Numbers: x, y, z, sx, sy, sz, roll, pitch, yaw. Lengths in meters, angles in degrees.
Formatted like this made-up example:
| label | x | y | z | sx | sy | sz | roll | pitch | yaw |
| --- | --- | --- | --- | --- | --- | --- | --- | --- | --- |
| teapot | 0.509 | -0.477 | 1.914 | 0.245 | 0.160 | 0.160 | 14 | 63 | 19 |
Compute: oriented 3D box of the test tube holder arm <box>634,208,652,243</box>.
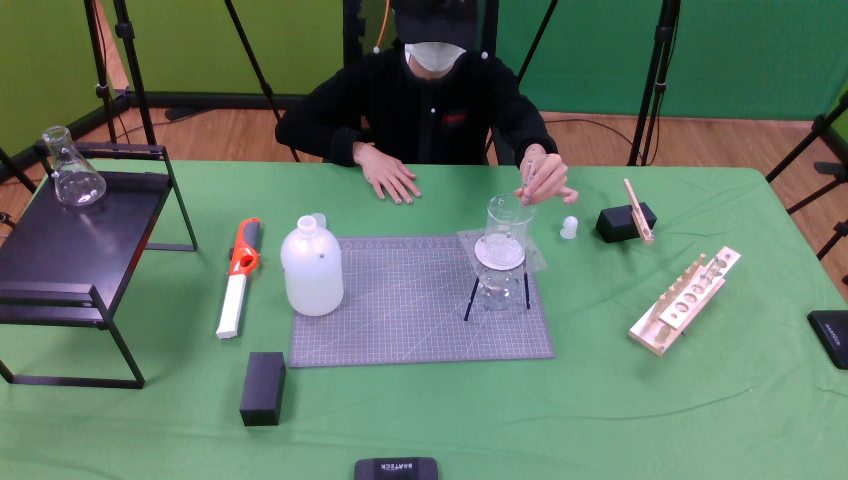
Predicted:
| label | x | y | z | sx | sy | sz | roll | pitch | yaw |
| --- | --- | --- | --- | --- | --- | --- | --- | --- | --- |
| test tube holder arm | 0.428 | -0.030 | 1.189 | 0.010 | 0.015 | 0.087 | 3 | 47 | -3 |

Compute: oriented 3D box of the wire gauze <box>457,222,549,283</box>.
| label | x | y | z | sx | sy | sz | roll | pitch | yaw |
| --- | --- | --- | --- | --- | --- | --- | --- | --- | --- |
| wire gauze | 0.131 | 0.016 | 1.017 | 0.121 | 0.011 | 0.124 | -10 | 44 | -15 |

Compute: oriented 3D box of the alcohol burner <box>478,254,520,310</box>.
| label | x | y | z | sx | sy | sz | roll | pitch | yaw |
| --- | --- | --- | --- | --- | --- | --- | --- | --- | --- |
| alcohol burner | 0.133 | 0.068 | 1.071 | 0.078 | 0.120 | 0.077 | 0 | 47 | 0 |

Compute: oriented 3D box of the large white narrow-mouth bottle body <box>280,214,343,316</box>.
| label | x | y | z | sx | sy | sz | roll | pitch | yaw |
| --- | --- | --- | --- | --- | --- | --- | --- | --- | --- |
| large white narrow-mouth bottle body | -0.190 | 0.035 | 1.025 | 0.102 | 0.195 | 0.101 | 2 | 46 | -2 |

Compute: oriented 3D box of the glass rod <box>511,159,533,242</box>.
| label | x | y | z | sx | sy | sz | roll | pitch | yaw |
| --- | --- | --- | --- | --- | --- | --- | --- | --- | --- |
| glass rod | 0.151 | -0.055 | 0.938 | 0.008 | 0.201 | 0.008 | 0 | 55 | 0 |

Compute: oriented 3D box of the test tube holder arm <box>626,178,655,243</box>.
| label | x | y | z | sx | sy | sz | roll | pitch | yaw |
| --- | --- | --- | --- | --- | --- | --- | --- | --- | --- |
| test tube holder arm | 0.434 | -0.063 | 1.220 | 0.013 | 0.015 | 0.177 | 3 | 47 | -4 |

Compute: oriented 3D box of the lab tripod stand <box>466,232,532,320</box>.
| label | x | y | z | sx | sy | sz | roll | pitch | yaw |
| --- | --- | --- | --- | --- | --- | --- | --- | --- | --- |
| lab tripod stand | 0.125 | 0.059 | 1.065 | 0.148 | 0.132 | 0.147 | 1 | 45 | 0 |

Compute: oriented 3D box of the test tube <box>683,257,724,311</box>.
| label | x | y | z | sx | sy | sz | roll | pitch | yaw |
| --- | --- | --- | --- | --- | --- | --- | --- | --- | --- |
| test tube | 0.476 | 0.080 | 1.037 | 0.017 | 0.151 | 0.017 | 1 | 51 | -2 |

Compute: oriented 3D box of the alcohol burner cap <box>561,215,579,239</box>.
| label | x | y | z | sx | sy | sz | roll | pitch | yaw |
| --- | --- | --- | --- | --- | --- | --- | --- | --- | --- |
| alcohol burner cap | 0.299 | -0.030 | 1.231 | 0.034 | 0.048 | 0.033 | 1 | 47 | 0 |

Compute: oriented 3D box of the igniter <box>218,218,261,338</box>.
| label | x | y | z | sx | sy | sz | roll | pitch | yaw |
| --- | --- | --- | --- | --- | --- | --- | --- | --- | --- |
| igniter | -0.336 | 0.060 | 1.111 | 0.057 | 0.025 | 0.274 | -8 | 46 | 4 |

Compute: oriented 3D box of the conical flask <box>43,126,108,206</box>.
| label | x | y | z | sx | sy | sz | roll | pitch | yaw |
| --- | --- | --- | --- | --- | --- | --- | --- | --- | --- |
| conical flask | -0.555 | -0.119 | 0.953 | 0.075 | 0.122 | 0.075 | 2 | 46 | -2 |

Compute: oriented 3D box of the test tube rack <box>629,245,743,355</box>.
| label | x | y | z | sx | sy | sz | roll | pitch | yaw |
| --- | --- | --- | --- | --- | --- | --- | --- | --- | --- |
| test tube rack | 0.474 | 0.095 | 1.091 | 0.242 | 0.085 | 0.066 | -34 | 56 | -31 |

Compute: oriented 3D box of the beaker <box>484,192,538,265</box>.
| label | x | y | z | sx | sy | sz | roll | pitch | yaw |
| --- | --- | --- | --- | --- | --- | --- | --- | --- | --- |
| beaker | 0.137 | -0.016 | 0.980 | 0.084 | 0.101 | 0.073 | -7 | 45 | -9 |

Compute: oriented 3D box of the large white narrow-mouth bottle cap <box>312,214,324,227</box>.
| label | x | y | z | sx | sy | sz | roll | pitch | yaw |
| --- | --- | --- | --- | --- | --- | --- | --- | --- | --- |
| large white narrow-mouth bottle cap | -0.219 | -0.033 | 1.214 | 0.038 | 0.024 | 0.037 | 2 | 46 | -2 |
